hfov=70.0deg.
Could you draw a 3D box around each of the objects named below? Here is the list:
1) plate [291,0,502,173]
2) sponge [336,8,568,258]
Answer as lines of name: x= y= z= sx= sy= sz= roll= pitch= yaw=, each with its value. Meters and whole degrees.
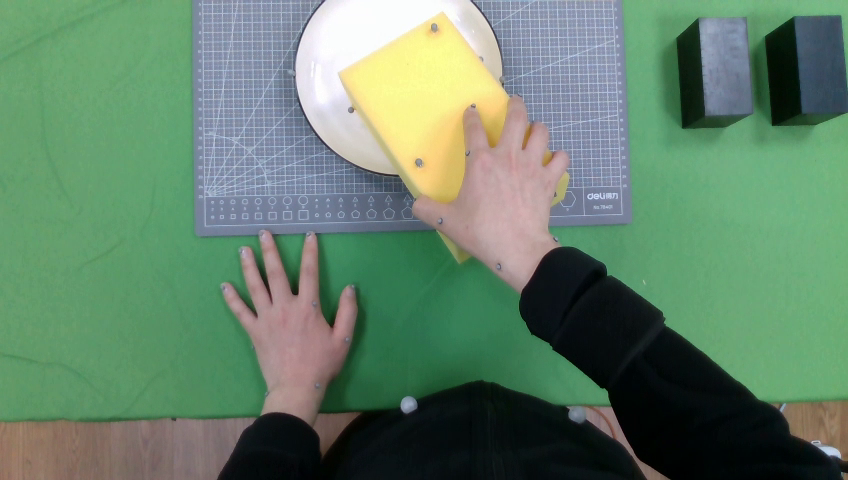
plate: x=-0.026 y=-0.168 z=0.615 sx=0.209 sy=0.038 sz=0.208 roll=0 pitch=87 yaw=-3
sponge: x=0.024 y=-0.101 z=0.568 sx=0.118 sy=0.061 sz=0.205 roll=-33 pitch=73 yaw=-4
